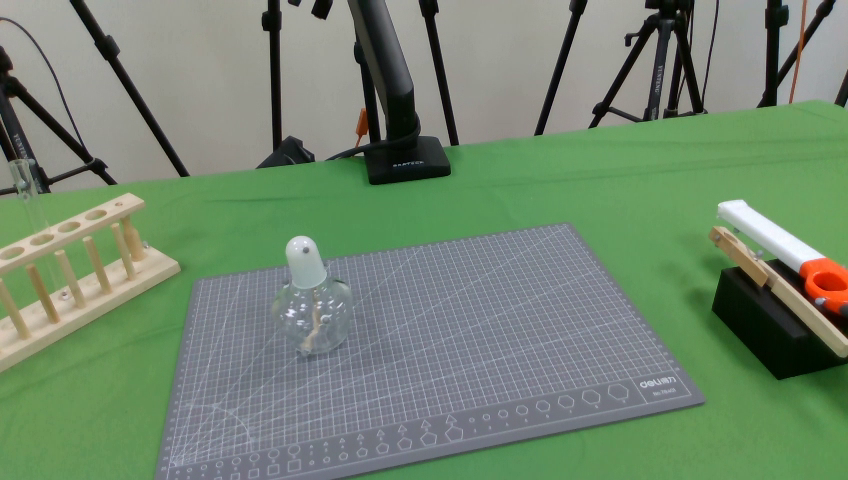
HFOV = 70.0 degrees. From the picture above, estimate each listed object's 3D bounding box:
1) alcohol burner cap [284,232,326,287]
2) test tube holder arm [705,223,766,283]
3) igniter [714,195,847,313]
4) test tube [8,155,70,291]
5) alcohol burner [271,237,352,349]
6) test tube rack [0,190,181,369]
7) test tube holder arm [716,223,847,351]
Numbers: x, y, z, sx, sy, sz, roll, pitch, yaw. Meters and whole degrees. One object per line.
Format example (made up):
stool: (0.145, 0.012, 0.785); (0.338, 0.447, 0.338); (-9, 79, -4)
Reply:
alcohol burner cap: (-0.109, 0.014, 0.546); (0.034, 0.048, 0.033); (-4, 36, 4)
test tube holder arm: (0.301, 0.011, 0.583); (0.010, 0.015, 0.087); (-4, 34, -12)
igniter: (0.359, 0.026, 0.551); (0.057, 0.025, 0.273); (-10, 31, -8)
test tube: (-0.390, -0.014, 0.617); (0.017, 0.151, 0.017); (-1, 28, 1)
alcohol burner: (-0.107, 0.044, 0.566); (0.078, 0.120, 0.077); (-1, 35, 1)
test tube rack: (-0.385, 0.042, 0.624); (0.066, 0.086, 0.242); (23, 42, 32)
test tube holder arm: (0.316, 0.035, 0.548); (0.013, 0.015, 0.176); (-4, 34, -13)
